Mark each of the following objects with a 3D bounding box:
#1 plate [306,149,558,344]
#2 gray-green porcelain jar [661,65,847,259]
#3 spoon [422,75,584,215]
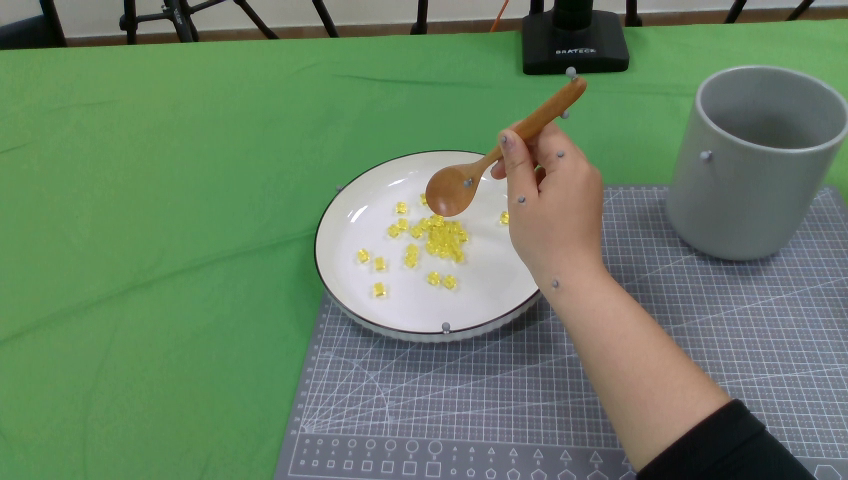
[{"bbox_3d":[0.007,0.004,0.515,0.207,0.039,0.205,-3,48,3],"label":"plate"},{"bbox_3d":[0.251,-0.056,0.481,0.106,0.128,0.105,-3,48,4],"label":"gray-green porcelain jar"},{"bbox_3d":[0.052,-0.065,0.458,0.021,0.193,0.041,-33,89,-33],"label":"spoon"}]
